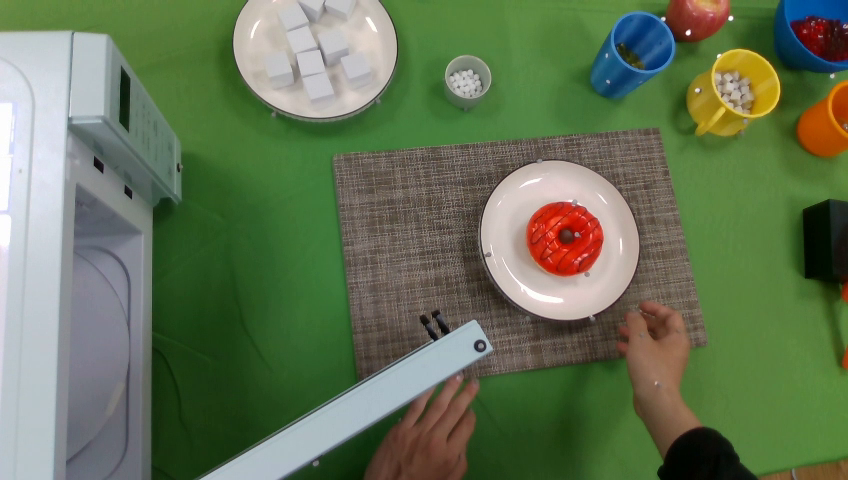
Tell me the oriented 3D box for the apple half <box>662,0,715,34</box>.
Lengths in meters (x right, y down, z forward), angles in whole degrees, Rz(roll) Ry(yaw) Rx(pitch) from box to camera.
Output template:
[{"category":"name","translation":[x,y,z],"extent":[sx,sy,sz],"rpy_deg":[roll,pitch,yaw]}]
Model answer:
[{"category":"apple half","translation":[0.363,-0.331,0.847],"extent":[0.053,0.075,0.080],"rpy_deg":[-1,81,-4]}]

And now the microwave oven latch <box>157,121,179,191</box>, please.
[{"category":"microwave oven latch","translation":[-0.303,-0.099,0.711],"extent":[0.030,0.029,0.079],"rpy_deg":[-1,79,-8]}]

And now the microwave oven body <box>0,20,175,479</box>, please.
[{"category":"microwave oven body","translation":[-0.424,0.061,0.563],"extent":[0.327,0.260,0.439],"rpy_deg":[-3,79,-8]}]

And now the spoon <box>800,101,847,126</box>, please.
[{"category":"spoon","translation":[0.603,-0.156,0.801],"extent":[0.041,0.192,0.022],"rpy_deg":[-49,131,-13]}]

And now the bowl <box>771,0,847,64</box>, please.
[{"category":"bowl","translation":[0.555,-0.310,0.864],"extent":[0.151,0.077,0.150],"rpy_deg":[1,79,-6]}]

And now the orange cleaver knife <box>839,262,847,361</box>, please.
[{"category":"orange cleaver knife","translation":[0.572,0.053,0.787],"extent":[0.012,0.077,0.212],"rpy_deg":[8,107,-3]}]

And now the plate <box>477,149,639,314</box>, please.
[{"category":"plate","translation":[0.166,-0.010,0.767],"extent":[0.209,0.038,0.208],"rpy_deg":[2,78,-7]}]

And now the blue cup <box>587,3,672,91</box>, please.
[{"category":"blue cup","translation":[0.263,-0.246,0.802],"extent":[0.093,0.100,0.092],"rpy_deg":[2,79,-8]}]

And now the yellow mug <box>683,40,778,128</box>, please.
[{"category":"yellow mug","translation":[0.410,-0.202,0.829],"extent":[0.100,0.064,0.130],"rpy_deg":[41,77,2]}]

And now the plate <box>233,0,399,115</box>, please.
[{"category":"plate","translation":[-0.138,-0.255,0.784],"extent":[0.208,0.039,0.206],"rpy_deg":[2,78,-7]}]

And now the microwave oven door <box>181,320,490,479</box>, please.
[{"category":"microwave oven door","translation":[-0.116,0.179,0.572],"extent":[0.356,0.244,0.039],"rpy_deg":[-29,82,-12]}]

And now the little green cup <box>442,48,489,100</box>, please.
[{"category":"little green cup","translation":[0.053,-0.217,0.801],"extent":[0.061,0.039,0.061],"rpy_deg":[2,77,-6]}]

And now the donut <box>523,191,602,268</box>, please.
[{"category":"donut","translation":[0.173,-0.013,0.757],"extent":[0.099,0.048,0.098],"rpy_deg":[1,78,-5]}]

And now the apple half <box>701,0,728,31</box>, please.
[{"category":"apple half","translation":[0.403,-0.332,0.850],"extent":[0.033,0.081,0.081],"rpy_deg":[-1,78,-4]}]
